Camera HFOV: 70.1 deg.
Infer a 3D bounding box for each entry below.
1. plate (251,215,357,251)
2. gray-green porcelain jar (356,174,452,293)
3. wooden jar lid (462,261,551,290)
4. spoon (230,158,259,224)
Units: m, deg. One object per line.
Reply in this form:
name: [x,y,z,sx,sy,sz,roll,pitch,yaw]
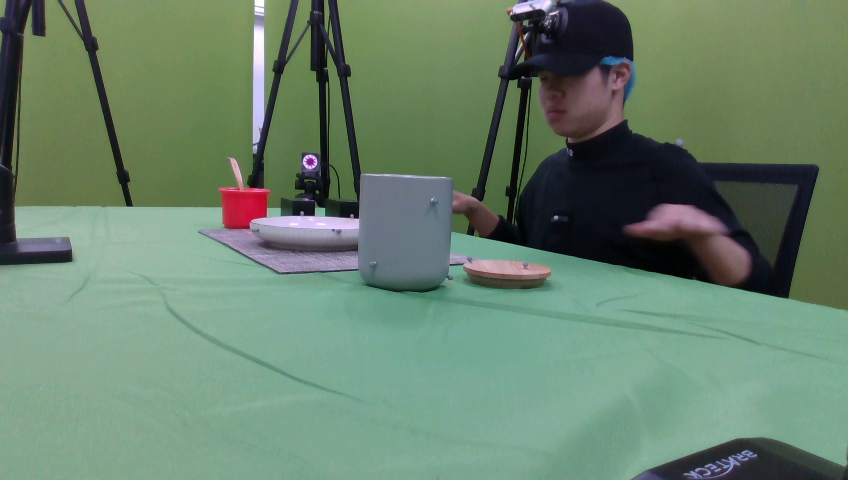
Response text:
plate: [-0.170,-0.012,0.971,0.208,0.039,0.207,3,7,0]
gray-green porcelain jar: [-0.023,-0.009,0.682,0.106,0.126,0.106,2,7,0]
wooden jar lid: [0.100,0.043,0.742,0.108,0.020,0.108,2,6,0]
spoon: [-0.366,-0.101,1.215,0.042,0.021,0.193,-1,52,-30]
